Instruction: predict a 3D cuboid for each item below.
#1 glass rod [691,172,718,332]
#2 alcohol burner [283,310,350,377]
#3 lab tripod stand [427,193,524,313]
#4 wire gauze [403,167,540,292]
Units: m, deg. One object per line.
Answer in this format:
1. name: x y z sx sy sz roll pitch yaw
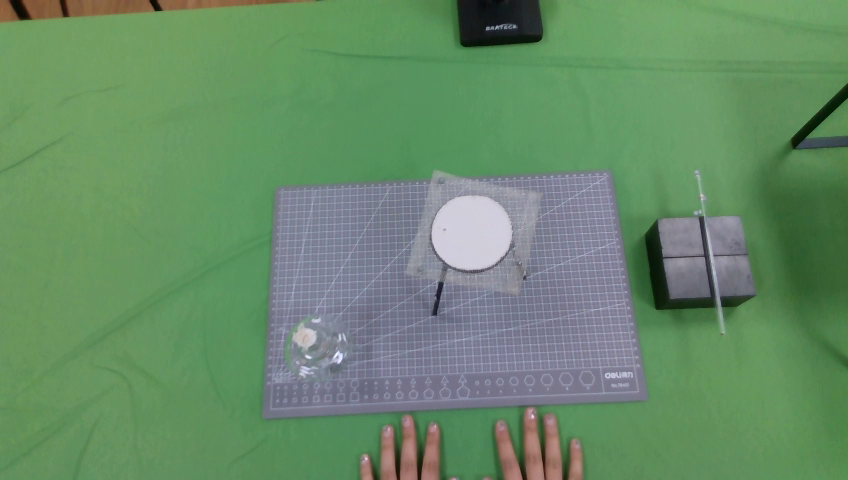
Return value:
1. glass rod: 0.331 0.010 0.715 0.008 0.008 0.198 1 71 2
2. alcohol burner: -0.124 0.113 0.679 0.078 0.120 0.077 0 72 1
3. lab tripod stand: 0.048 0.010 0.702 0.148 0.132 0.147 -1 70 3
4. wire gauze: 0.052 -0.013 0.639 0.121 0.011 0.124 13 71 6
